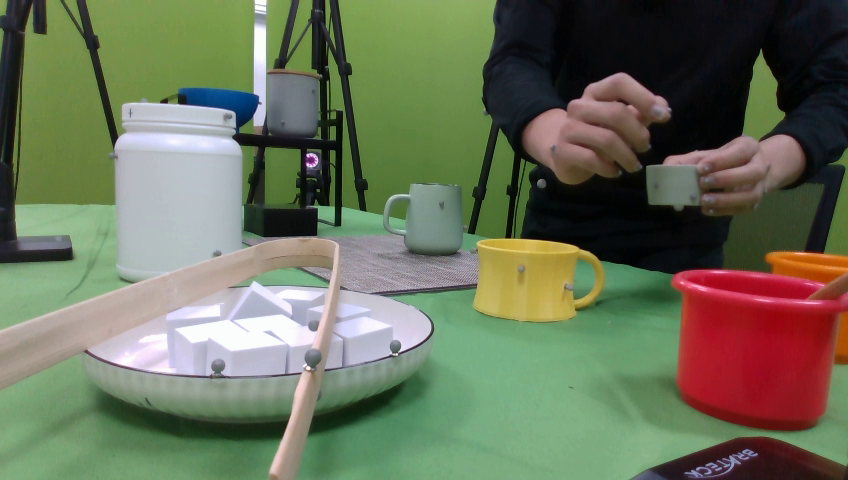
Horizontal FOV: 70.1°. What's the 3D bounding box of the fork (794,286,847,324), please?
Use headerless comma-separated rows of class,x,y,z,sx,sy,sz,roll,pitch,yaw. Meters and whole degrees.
fork,0.332,0.018,0.443,0.028,0.018,0.207,-3,-35,-16

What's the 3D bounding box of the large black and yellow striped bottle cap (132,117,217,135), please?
large black and yellow striped bottle cap,-0.359,-0.164,0.875,0.115,0.019,0.115,2,6,0

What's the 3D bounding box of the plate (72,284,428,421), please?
plate,-0.102,0.067,0.381,0.208,0.039,0.207,3,7,0

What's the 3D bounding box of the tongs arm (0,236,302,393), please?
tongs arm,-0.157,0.038,0.347,0.028,0.028,0.388,-3,8,11

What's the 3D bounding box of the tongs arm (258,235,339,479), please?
tongs arm,-0.074,0.040,0.345,0.051,0.026,0.384,-1,10,-3

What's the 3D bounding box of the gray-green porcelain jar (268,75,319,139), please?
gray-green porcelain jar,-0.277,-0.278,1.280,0.106,0.126,0.106,2,8,0

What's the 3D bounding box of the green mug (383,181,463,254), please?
green mug,-0.001,-0.036,0.922,0.126,0.105,0.092,0,8,-16

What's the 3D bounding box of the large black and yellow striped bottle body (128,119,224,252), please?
large black and yellow striped bottle body,-0.361,-0.081,0.887,0.131,0.184,0.130,2,8,0

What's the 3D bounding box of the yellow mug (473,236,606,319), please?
yellow mug,0.114,0.034,0.590,0.131,0.064,0.100,2,6,-7

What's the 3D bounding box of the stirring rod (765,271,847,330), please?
stirring rod,0.352,0.020,0.481,0.176,0.006,0.014,-40,-7,17

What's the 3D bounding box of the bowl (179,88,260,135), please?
bowl,-0.400,-0.248,1.188,0.151,0.077,0.151,2,6,0

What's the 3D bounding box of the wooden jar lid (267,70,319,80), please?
wooden jar lid,-0.275,-0.339,1.271,0.108,0.020,0.108,5,6,0

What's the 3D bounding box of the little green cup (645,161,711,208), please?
little green cup,0.250,-0.054,0.600,0.061,0.038,0.061,6,-2,1

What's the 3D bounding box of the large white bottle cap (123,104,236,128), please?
large white bottle cap,-0.266,-0.135,0.663,0.115,0.018,0.115,3,7,0

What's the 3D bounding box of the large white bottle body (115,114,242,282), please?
large white bottle body,-0.270,-0.051,0.673,0.131,0.184,0.130,2,8,0

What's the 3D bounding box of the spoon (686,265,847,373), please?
spoon,0.214,0.032,0.327,0.042,0.021,0.193,-2,-35,-26
